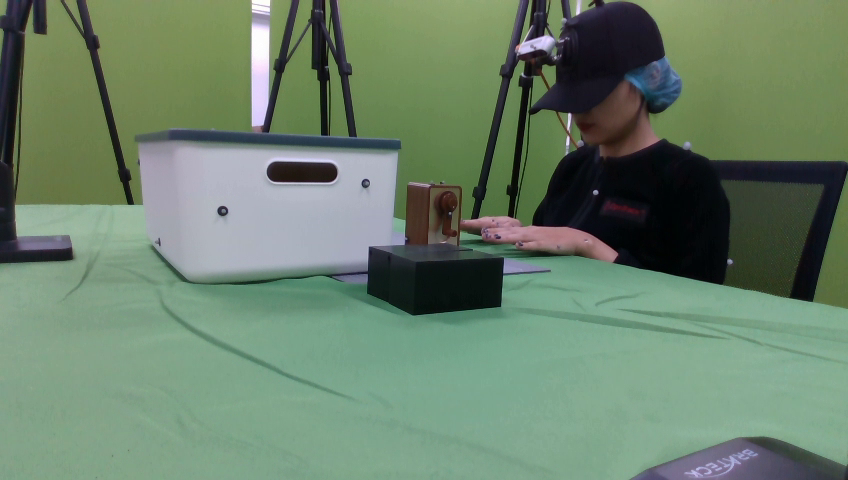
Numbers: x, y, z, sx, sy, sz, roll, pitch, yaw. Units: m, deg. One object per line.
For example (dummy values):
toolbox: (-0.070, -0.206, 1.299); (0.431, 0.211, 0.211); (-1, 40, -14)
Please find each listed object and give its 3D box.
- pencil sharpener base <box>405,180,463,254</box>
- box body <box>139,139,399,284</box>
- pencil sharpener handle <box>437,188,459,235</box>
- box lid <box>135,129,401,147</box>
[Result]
pencil sharpener base: (0.016, -0.035, 0.922); (0.061, 0.107, 0.076); (-2, 9, -30)
box body: (-0.222, -0.056, 0.807); (0.255, 0.160, 0.362); (-3, 9, -31)
pencil sharpener handle: (0.041, -0.041, 0.877); (0.036, 0.067, 0.030); (1, 7, -30)
box lid: (-0.220, -0.129, 0.795); (0.265, 0.015, 0.369); (-4, 9, -31)
